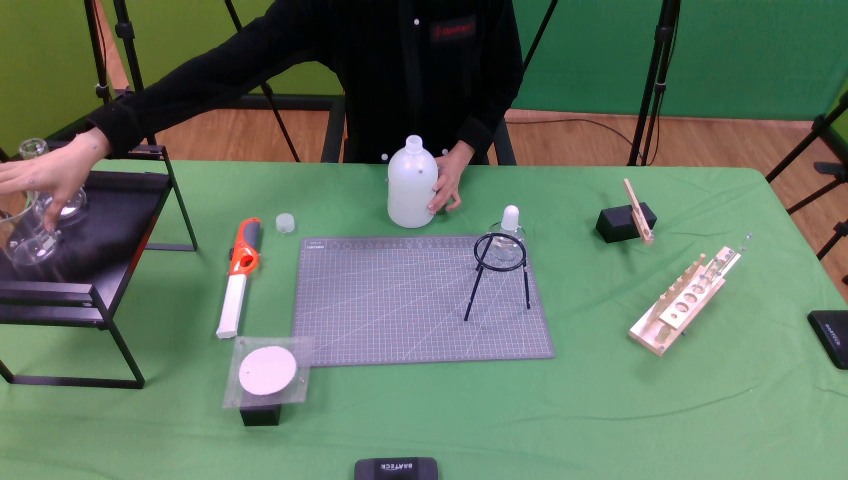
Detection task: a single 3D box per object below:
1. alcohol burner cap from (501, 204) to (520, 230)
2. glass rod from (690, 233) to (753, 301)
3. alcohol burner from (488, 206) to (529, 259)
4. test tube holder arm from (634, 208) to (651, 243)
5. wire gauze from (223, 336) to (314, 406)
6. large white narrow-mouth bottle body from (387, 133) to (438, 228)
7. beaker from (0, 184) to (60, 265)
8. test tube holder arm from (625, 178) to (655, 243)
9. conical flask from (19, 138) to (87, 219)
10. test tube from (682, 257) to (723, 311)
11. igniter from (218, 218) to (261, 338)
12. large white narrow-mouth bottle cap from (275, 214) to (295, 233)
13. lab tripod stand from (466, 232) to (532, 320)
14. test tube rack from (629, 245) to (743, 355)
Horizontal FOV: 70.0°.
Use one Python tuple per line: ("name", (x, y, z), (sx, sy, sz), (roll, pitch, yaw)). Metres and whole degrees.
("alcohol burner cap", (0.164, -0.046, 1.133), (0.034, 0.048, 0.033), (2, 40, -2))
("glass rod", (0.507, 0.053, 1.041), (0.008, 0.200, 0.008), (5, 51, -6))
("alcohol burner", (0.163, -0.020, 1.158), (0.078, 0.120, 0.077), (0, 47, 0))
("test tube holder arm", (0.428, -0.030, 1.189), (0.010, 0.015, 0.087), (1, 47, -2))
("wire gauze", (-0.236, 0.197, 0.931), (0.121, 0.011, 0.124), (1, 45, -4))
("large white narrow-mouth bottle body", (-0.022, -0.123, 1.193), (0.102, 0.195, 0.101), (2, 46, -2))
("beaker", (-0.578, -0.017, 0.869), (0.074, 0.101, 0.083), (4, 46, 0))
("test tube holder arm", (0.433, -0.062, 1.220), (0.013, 0.015, 0.177), (1, 47, -3))
("conical flask", (-0.576, -0.097, 0.930), (0.075, 0.122, 0.075), (2, 46, -2))
("test tube", (0.475, 0.080, 1.037), (0.017, 0.151, 0.017), (1, 51, -1))
("igniter", (-0.336, 0.060, 1.111), (0.057, 0.025, 0.274), (-7, 46, 4))
("large white narrow-mouth bottle cap", (-0.277, -0.034, 1.213), (0.038, 0.024, 0.037), (3, 46, -3))
("lab tripod stand", (0.125, 0.059, 1.065), (0.148, 0.132, 0.147), (1, 45, 0))
("test tube rack", (0.474, 0.095, 1.091), (0.242, 0.085, 0.066), (-34, 56, -31))
